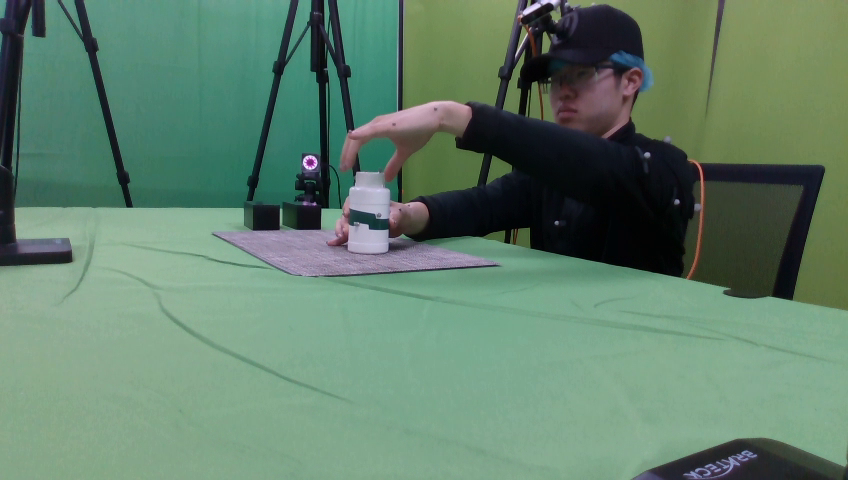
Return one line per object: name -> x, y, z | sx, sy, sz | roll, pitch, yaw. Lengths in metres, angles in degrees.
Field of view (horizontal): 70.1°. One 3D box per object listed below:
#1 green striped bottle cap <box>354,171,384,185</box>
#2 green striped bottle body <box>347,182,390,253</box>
green striped bottle cap -> -0.082, -0.093, 0.906 | 0.044, 0.020, 0.044 | 2, 3, 0
green striped bottle body -> -0.083, -0.042, 0.913 | 0.063, 0.119, 0.063 | 3, 8, 0
